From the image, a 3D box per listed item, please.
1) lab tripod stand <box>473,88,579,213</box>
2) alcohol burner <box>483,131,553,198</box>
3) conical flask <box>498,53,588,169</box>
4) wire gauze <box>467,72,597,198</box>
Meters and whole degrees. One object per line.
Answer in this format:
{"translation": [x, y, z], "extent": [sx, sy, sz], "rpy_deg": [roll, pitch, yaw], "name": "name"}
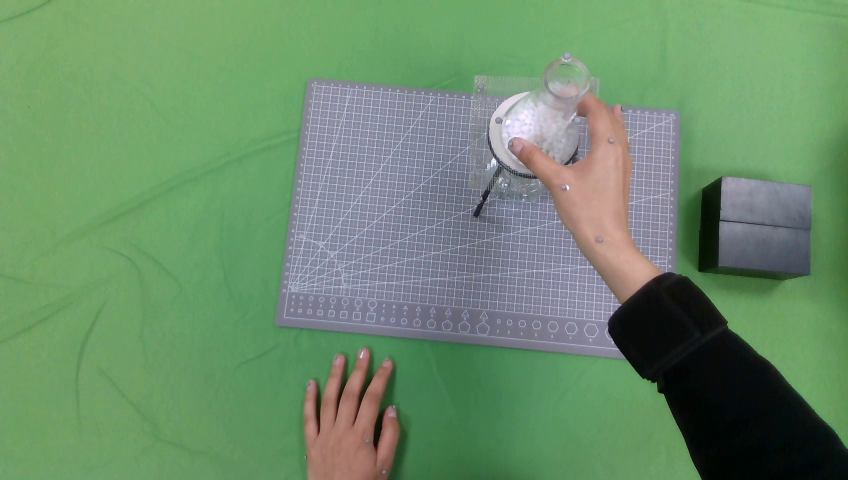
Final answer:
{"translation": [0.104, -0.098, 0.651], "extent": [0.148, 0.132, 0.148], "rpy_deg": [0, 80, 2], "name": "lab tripod stand"}
{"translation": [0.104, -0.087, 0.659], "extent": [0.078, 0.119, 0.077], "rpy_deg": [0, 81, 2], "name": "alcohol burner"}
{"translation": [0.107, -0.113, 0.518], "extent": [0.075, 0.122, 0.075], "rpy_deg": [0, 80, 0], "name": "conical flask"}
{"translation": [0.105, -0.104, 0.583], "extent": [0.125, 0.011, 0.121], "rpy_deg": [4, 80, 2], "name": "wire gauze"}
